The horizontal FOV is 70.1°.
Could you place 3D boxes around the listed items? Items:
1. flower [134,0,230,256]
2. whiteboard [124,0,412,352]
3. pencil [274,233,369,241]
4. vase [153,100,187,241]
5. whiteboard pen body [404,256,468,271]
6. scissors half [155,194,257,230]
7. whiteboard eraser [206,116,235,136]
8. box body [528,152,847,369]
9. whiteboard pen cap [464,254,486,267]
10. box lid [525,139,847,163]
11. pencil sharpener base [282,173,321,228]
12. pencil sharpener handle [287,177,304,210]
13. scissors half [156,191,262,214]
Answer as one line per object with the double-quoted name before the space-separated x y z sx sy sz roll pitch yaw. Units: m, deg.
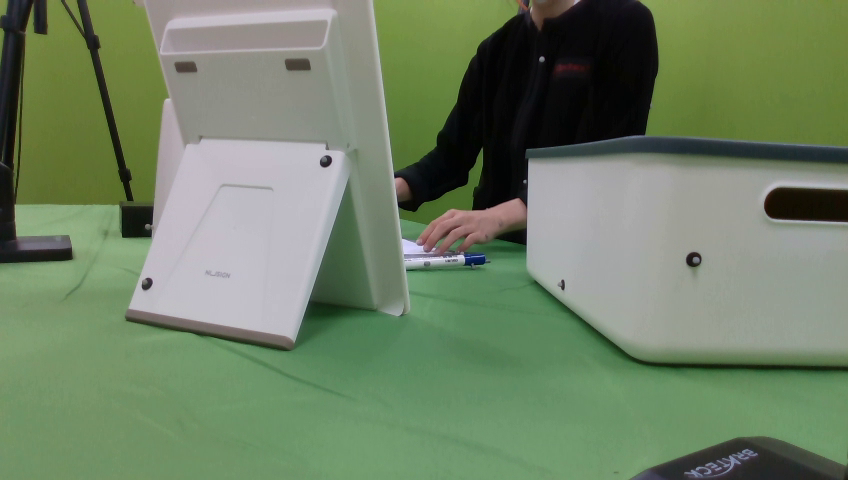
"flower" -0.282 -0.147 0.713 0.038 0.362 0.044 -23 24 -31
"whiteboard" -0.151 -0.049 0.472 0.216 0.305 0.144 6 27 24
"pencil" -0.169 -0.006 1.037 0.012 0.012 0.195 10 8 44
"vase" -0.278 -0.066 0.736 0.098 0.200 0.098 2 9 0
"whiteboard pen body" 0.013 0.030 0.792 0.141 0.017 0.017 -3 9 -24
"scissors half" -0.378 -0.051 1.058 0.176 0.040 0.012 20 22 -31
"whiteboard eraser" -0.450 -0.252 1.335 0.056 0.042 0.112 1 7 -22
"box body" 0.258 -0.005 0.591 0.254 0.160 0.363 2 7 -4
"whiteboard pen cap" 0.066 0.027 0.818 0.033 0.018 0.018 -5 10 -25
"box lid" 0.261 -0.078 0.580 0.264 0.015 0.371 2 7 -4
"pencil sharpener base" -0.247 -0.080 1.212 0.061 0.107 0.076 -2 5 -28
"pencil sharpener handle" -0.269 -0.096 1.257 0.036 0.067 0.030 -8 8 -27
"scissors half" -0.371 -0.069 1.051 0.176 0.040 0.013 2 25 -24
